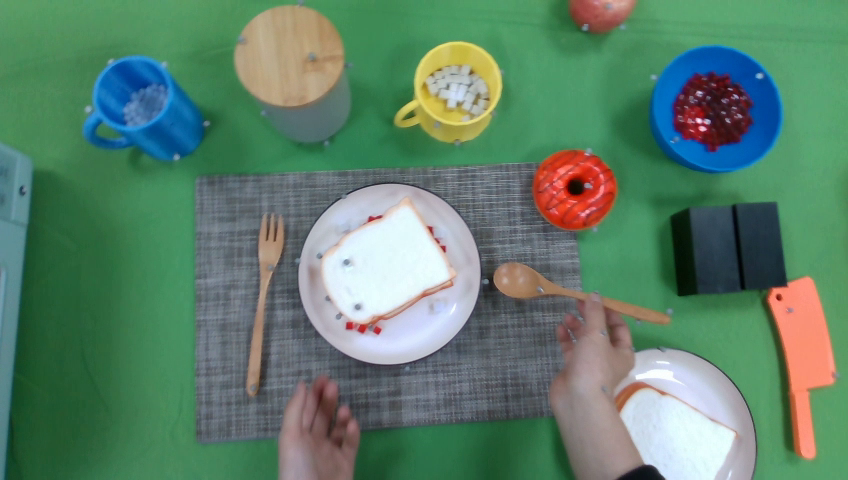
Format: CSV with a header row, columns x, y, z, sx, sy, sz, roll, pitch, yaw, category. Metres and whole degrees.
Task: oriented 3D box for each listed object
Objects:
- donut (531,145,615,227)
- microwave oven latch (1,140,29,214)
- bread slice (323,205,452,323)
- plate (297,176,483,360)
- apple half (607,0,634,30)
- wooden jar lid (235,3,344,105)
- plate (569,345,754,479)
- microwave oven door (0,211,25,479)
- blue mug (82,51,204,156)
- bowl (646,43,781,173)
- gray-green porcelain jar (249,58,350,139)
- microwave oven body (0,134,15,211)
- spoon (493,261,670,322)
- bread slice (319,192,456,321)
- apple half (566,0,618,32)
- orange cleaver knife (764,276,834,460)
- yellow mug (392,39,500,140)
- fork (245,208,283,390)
x,y,z,sx,sy,sz,roll,pitch,yaw,category
0.175,-0.063,0.714,0.099,0.048,0.098,0,83,-3,donut
-0.460,-0.069,0.671,0.030,0.029,0.079,3,82,-3,microwave oven latch
-0.047,0.034,0.695,0.131,0.019,0.104,-30,85,-8,bread slice
-0.038,0.032,0.693,0.208,0.039,0.207,0,82,-2,plate
0.224,-0.303,0.739,0.053,0.075,0.080,-35,81,-13,apple half
-0.136,-0.187,0.615,0.108,0.021,0.108,0,80,-2,wooden jar lid
0.264,0.223,0.685,0.209,0.038,0.208,0,82,-3,plate
-0.459,0.133,0.540,0.039,0.244,0.354,0,82,-2,microwave oven door
-0.316,-0.141,0.673,0.116,0.106,0.082,-28,84,-6,blue mug
0.328,-0.145,0.720,0.151,0.077,0.151,0,82,-2,bowl
-0.138,-0.177,0.677,0.106,0.127,0.105,0,81,-3,gray-green porcelain jar
-0.605,0.089,0.544,0.326,0.260,0.440,1,82,-3,microwave oven body
0.163,0.059,0.653,0.192,0.022,0.041,13,71,32,spoon
-0.046,0.026,0.668,0.134,0.018,0.106,-34,82,-8,bread slice
0.194,-0.280,0.733,0.033,0.081,0.081,-36,84,-12,apple half
0.448,0.147,0.715,0.077,0.012,0.210,-1,80,-10,orange cleaver knife
0.022,-0.170,0.714,0.131,0.064,0.099,-26,84,-5,yellow mug
-0.185,0.066,0.690,0.028,0.018,0.206,6,79,-8,fork
